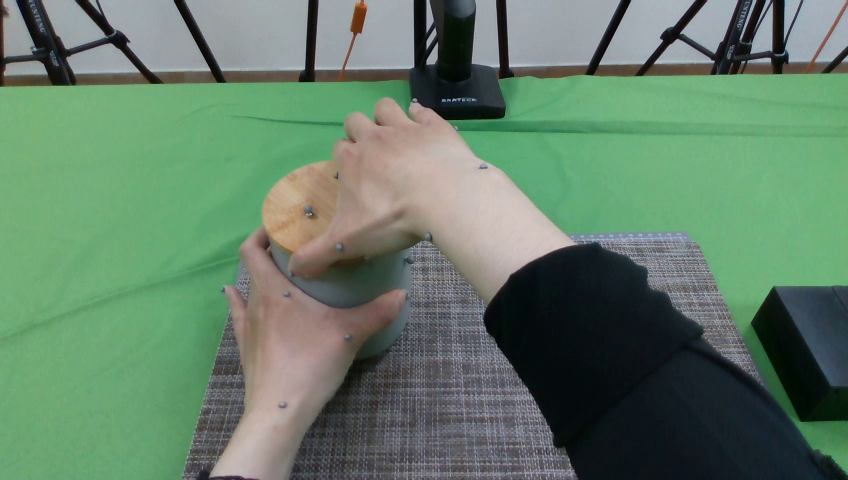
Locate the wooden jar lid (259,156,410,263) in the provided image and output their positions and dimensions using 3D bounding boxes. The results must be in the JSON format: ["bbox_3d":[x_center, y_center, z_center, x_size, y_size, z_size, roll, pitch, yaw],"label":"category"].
[{"bbox_3d":[-0.064,-0.021,0.443,0.108,0.021,0.107,3,47,-3],"label":"wooden jar lid"}]

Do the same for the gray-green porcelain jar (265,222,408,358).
[{"bbox_3d":[-0.066,0.024,0.487,0.106,0.127,0.105,1,44,-1],"label":"gray-green porcelain jar"}]
